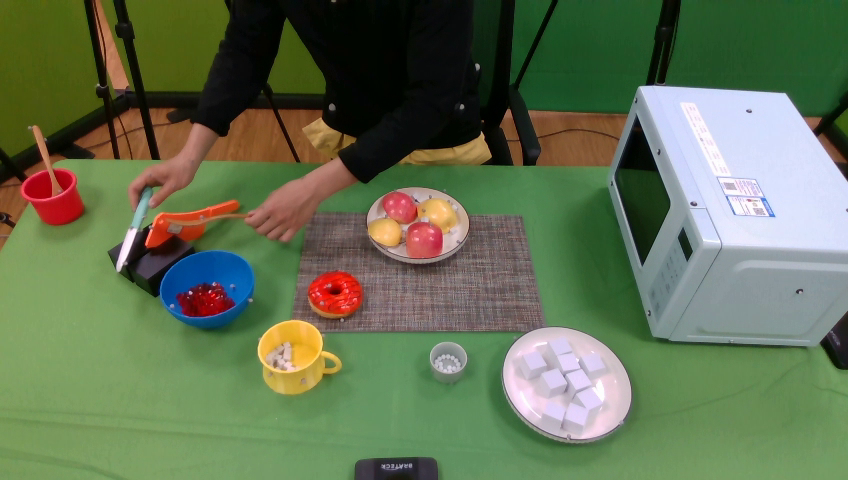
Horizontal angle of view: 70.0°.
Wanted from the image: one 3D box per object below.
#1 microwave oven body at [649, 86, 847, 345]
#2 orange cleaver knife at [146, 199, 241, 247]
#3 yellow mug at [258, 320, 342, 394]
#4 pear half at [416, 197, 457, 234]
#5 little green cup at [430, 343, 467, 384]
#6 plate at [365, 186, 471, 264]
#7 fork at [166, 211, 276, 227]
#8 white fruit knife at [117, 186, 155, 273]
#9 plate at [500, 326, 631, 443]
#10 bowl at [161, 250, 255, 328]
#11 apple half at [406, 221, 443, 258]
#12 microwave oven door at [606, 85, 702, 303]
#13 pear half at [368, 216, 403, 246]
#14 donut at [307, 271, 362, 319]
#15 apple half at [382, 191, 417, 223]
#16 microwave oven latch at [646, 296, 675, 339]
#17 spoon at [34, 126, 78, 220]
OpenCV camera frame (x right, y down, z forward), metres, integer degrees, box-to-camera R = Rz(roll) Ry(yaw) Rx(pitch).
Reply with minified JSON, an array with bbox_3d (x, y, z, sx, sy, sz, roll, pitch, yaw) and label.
[{"bbox_3d":[0.568,-0.053,1.118,0.326,0.261,0.439,2,45,-1],"label":"microwave oven body"},{"bbox_3d":[-0.435,-0.034,1.157,0.012,0.077,0.211,33,27,18],"label":"orange cleaver knife"},{"bbox_3d":[-0.196,0.189,0.971,0.131,0.064,0.099,9,46,3],"label":"yellow mug"},{"bbox_3d":[0.017,-0.065,1.226,0.076,0.056,0.109,-27,50,-32],"label":"pear half"},{"bbox_3d":[0.039,0.203,0.993,0.061,0.039,0.061,2,46,-2],"label":"little green cup"},{"bbox_3d":[-0.013,-0.027,1.207,0.209,0.038,0.208,2,46,-2],"label":"plate"},{"bbox_3d":[-0.367,-0.042,1.109,0.208,0.028,0.018,-6,16,-38],"label":"fork"},{"bbox_3d":[-0.517,-0.023,1.090,0.027,0.016,0.206,-15,49,14],"label":"white fruit knife"},{"bbox_3d":[0.224,0.234,0.978,0.208,0.039,0.206,2,46,-2],"label":"plate"},{"bbox_3d":[-0.362,0.098,1.040,0.151,0.077,0.150,2,45,-2],"label":"bowl"},{"bbox_3d":[0.001,-0.006,1.164,0.075,0.053,0.080,5,42,0],"label":"apple half"},{"bbox_3d":[0.422,-0.094,1.140,0.039,0.245,0.353,2,46,-1],"label":"microwave oven door"},{"bbox_3d":[-0.070,-0.026,1.183,0.070,0.031,0.087,33,45,0],"label":"pear half"},{"bbox_3d":[-0.157,0.097,1.073,0.099,0.048,0.098,4,45,-4],"label":"donut"},{"bbox_3d":[-0.043,-0.072,1.225,0.081,0.033,0.081,19,41,-17],"label":"apple half"},{"bbox_3d":[0.412,0.134,1.061,0.030,0.029,0.078,4,45,1],"label":"microwave oven latch"},{"bbox_3d":[-0.726,-0.132,1.187,0.041,0.021,0.194,-18,94,-20],"label":"spoon"}]
